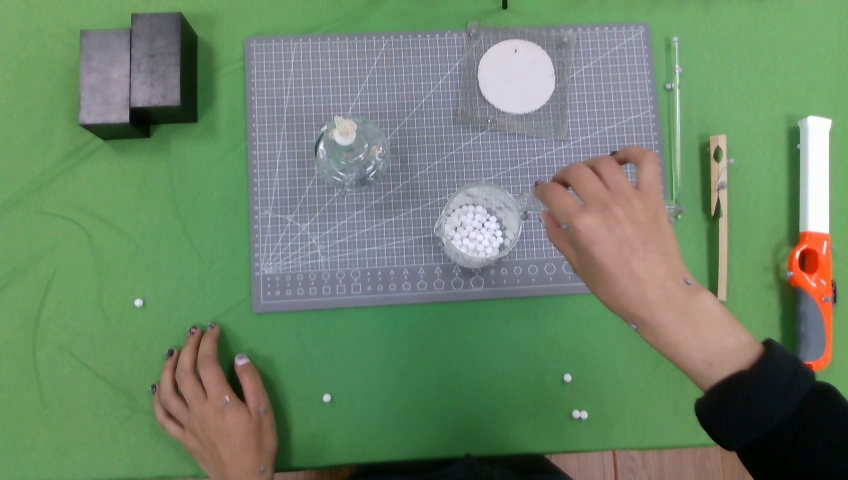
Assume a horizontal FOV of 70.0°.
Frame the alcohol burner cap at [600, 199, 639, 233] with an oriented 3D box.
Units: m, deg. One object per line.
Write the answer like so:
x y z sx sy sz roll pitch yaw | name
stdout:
0.208 -0.027 0.638 0.034 0.048 0.034 0 82 -2 | alcohol burner cap

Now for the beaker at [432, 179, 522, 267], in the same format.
0.047 -0.011 0.601 0.084 0.100 0.073 -11 82 -3 | beaker

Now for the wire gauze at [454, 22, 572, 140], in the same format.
0.099 -0.178 0.670 0.125 0.011 0.121 8 84 -2 | wire gauze

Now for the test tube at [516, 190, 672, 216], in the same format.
0.148 -0.031 0.516 0.151 0.017 0.017 2 82 -19 | test tube

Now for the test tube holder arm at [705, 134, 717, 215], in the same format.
0.315 -0.071 0.663 0.010 0.015 0.087 -5 82 34 | test tube holder arm

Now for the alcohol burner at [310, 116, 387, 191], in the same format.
-0.076 -0.091 0.598 0.078 0.119 0.077 0 81 0 | alcohol burner

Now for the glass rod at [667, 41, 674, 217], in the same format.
0.274 -0.124 0.672 0.008 0.008 0.199 2 85 -2 | glass rod

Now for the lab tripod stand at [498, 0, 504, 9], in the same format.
0.031 -0.312 0.624 0.148 0.131 0.148 0 84 -2 | lab tripod stand

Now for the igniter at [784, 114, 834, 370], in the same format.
0.415 0.000 0.653 0.057 0.025 0.275 6 82 -11 | igniter

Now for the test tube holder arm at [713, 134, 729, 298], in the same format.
0.320 -0.027 0.655 0.013 0.015 0.178 -5 81 34 | test tube holder arm
